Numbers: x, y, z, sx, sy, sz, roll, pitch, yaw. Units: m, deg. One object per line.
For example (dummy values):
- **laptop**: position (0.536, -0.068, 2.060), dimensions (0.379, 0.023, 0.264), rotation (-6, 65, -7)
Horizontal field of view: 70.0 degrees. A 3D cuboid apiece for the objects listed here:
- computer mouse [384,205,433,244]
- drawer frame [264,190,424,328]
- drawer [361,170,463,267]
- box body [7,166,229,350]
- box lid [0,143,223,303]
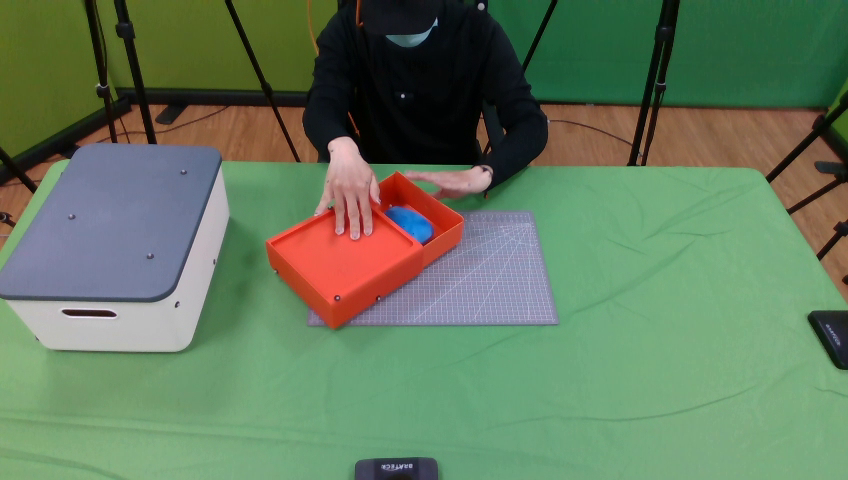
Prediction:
- **computer mouse**: position (-0.039, -0.032, 1.200), dimensions (0.116, 0.041, 0.063), rotation (34, 55, 31)
- **drawer frame**: position (-0.144, 0.028, 1.114), dimensions (0.213, 0.083, 0.200), rotation (-34, 57, -30)
- **drawer**: position (-0.066, -0.022, 1.171), dimensions (0.211, 0.073, 0.193), rotation (-35, 58, -30)
- **box body**: position (-0.502, 0.008, 1.054), dimensions (0.254, 0.161, 0.361), rotation (1, 46, -3)
- **box lid**: position (-0.499, -0.045, 1.002), dimensions (0.263, 0.015, 0.369), rotation (2, 46, -3)
